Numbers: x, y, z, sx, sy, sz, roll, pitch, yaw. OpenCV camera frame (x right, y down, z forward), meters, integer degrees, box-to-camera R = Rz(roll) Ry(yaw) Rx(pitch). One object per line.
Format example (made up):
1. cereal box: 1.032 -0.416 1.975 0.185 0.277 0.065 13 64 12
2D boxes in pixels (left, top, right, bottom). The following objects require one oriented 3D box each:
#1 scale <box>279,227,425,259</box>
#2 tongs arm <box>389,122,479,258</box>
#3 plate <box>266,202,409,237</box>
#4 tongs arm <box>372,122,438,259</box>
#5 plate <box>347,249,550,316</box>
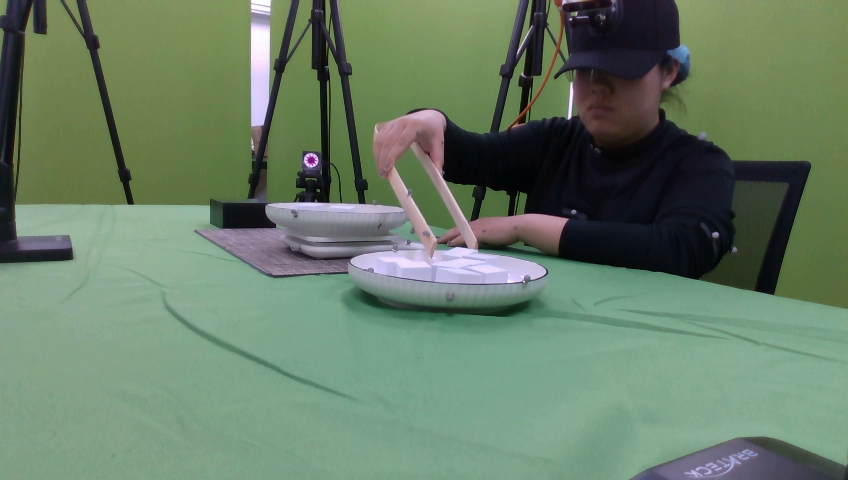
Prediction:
1. scale: -0.100 0.001 0.899 0.202 0.031 0.148 -1 9 -31
2. tongs arm: 0.007 -0.087 0.852 0.028 0.028 0.386 -5 32 -15
3. plate: -0.123 -0.030 0.879 0.208 0.039 0.207 2 6 0
4. tongs arm: -0.024 -0.086 0.842 0.051 0.026 0.383 -3 32 -18
5. plate: 0.025 0.042 0.627 0.209 0.038 0.209 2 7 0
